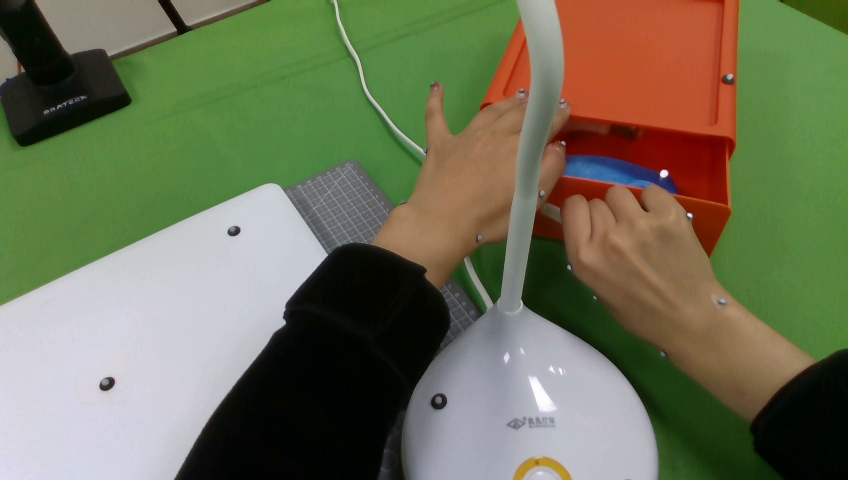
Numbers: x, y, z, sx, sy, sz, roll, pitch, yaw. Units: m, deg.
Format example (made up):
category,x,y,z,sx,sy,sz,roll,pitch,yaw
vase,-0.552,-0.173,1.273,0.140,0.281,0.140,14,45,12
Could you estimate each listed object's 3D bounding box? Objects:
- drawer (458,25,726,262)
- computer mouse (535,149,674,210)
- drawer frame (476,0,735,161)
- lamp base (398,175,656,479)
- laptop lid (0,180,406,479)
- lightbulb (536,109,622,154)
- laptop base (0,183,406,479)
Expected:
category,x,y,z,sx,sy,sz,roll,pitch,yaw
drawer,0.151,-0.096,0.522,0.194,0.074,0.210,11,53,14
computer mouse,0.147,-0.041,0.494,0.117,0.041,0.062,10,49,5
drawer frame,0.172,-0.151,0.562,0.201,0.083,0.212,11,53,14
lamp base,0.057,0.066,0.333,0.161,0.182,0.177,-12,49,-7
laptop lid,-0.218,0.100,0.422,0.357,0.013,0.239,-27,57,-16
lightbulb,0.140,-0.104,0.538,0.059,0.060,0.106,-18,36,-9
laptop base,-0.218,0.106,0.432,0.354,0.023,0.233,-29,58,-17
